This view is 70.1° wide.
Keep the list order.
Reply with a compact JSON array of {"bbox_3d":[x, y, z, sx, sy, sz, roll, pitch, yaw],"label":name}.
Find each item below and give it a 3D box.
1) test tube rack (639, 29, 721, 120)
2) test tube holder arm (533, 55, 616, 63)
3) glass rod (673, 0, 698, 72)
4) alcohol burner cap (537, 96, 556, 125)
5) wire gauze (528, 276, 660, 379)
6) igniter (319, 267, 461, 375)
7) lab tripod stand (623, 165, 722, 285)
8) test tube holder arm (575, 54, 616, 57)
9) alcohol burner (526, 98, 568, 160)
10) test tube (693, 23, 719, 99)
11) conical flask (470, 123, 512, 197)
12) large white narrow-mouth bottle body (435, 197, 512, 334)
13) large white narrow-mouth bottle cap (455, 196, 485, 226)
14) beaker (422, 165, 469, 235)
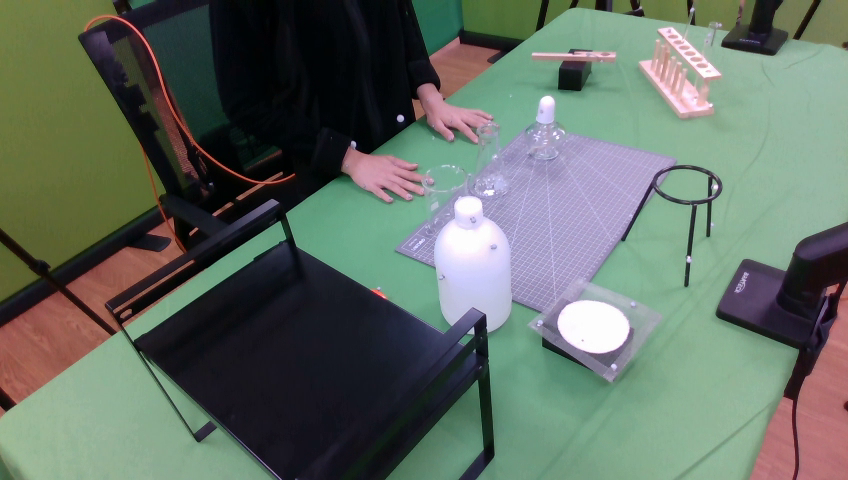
[{"bbox_3d":[0.527,-0.351,1.262,0.067,0.085,0.241,-8,40,1],"label":"test tube rack"},{"bbox_3d":[0.329,-0.398,1.327,0.178,0.015,0.013,5,51,15],"label":"test tube holder arm"},{"bbox_3d":[0.536,-0.424,1.244,0.008,0.200,0.008,0,48,0],"label":"glass rod"},{"bbox_3d":[0.223,-0.237,1.095,0.034,0.048,0.033,0,42,1],"label":"alcohol burner cap"},{"bbox_3d":[0.214,0.103,0.763,0.124,0.011,0.122,30,52,35],"label":"wire gauze"},{"bbox_3d":[-0.060,0.108,0.862,0.274,0.025,0.057,29,62,35],"label":"igniter"},{"bbox_3d":[0.365,-0.030,0.875,0.148,0.132,0.147,-6,41,6],"label":"lab tripod stand"},{"bbox_3d":[0.373,-0.398,1.318,0.087,0.015,0.010,5,51,15],"label":"test tube holder arm"},{"bbox_3d":[0.228,-0.210,1.118,0.078,0.119,0.077,-5,43,5],"label":"alcohol burner"},{"bbox_3d":[0.546,-0.345,1.175,0.017,0.151,0.017,-2,39,2],"label":"test tube"},{"bbox_3d":[0.115,-0.139,1.046,0.075,0.122,0.075,-4,41,4],"label":"conical flask"},{"bbox_3d":[0.066,0.029,0.805,0.102,0.195,0.101,-4,40,4],"label":"large white narrow-mouth bottle body"},{"bbox_3d":[0.057,-0.036,0.749,0.038,0.024,0.037,-4,40,4],"label":"large white narrow-mouth bottle cap"},{"bbox_3d":[0.041,-0.063,0.986,0.073,0.101,0.084,20,47,29],"label":"beaker"}]
